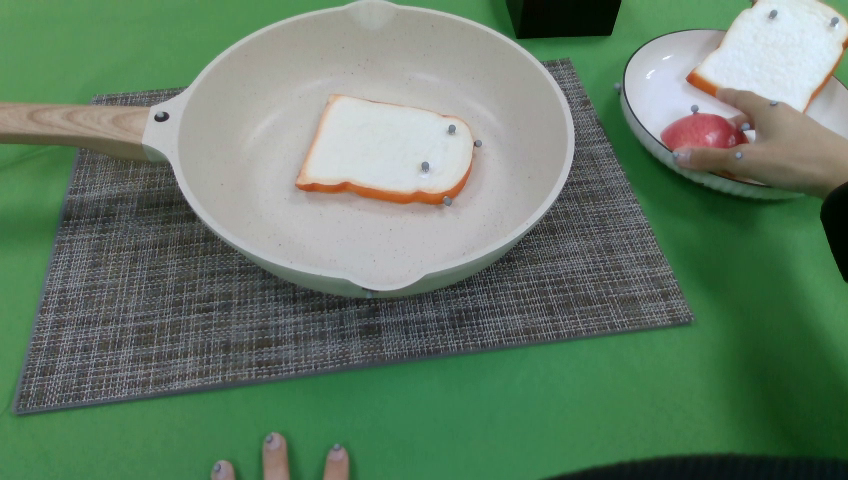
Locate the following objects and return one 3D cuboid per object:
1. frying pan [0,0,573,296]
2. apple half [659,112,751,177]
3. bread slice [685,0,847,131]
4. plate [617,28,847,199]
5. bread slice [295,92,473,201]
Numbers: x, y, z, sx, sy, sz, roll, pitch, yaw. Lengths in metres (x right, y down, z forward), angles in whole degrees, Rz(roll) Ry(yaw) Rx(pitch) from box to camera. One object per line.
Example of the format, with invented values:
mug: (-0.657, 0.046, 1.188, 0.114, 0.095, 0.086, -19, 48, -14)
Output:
frying pan: (-0.139, -0.080, 0.450, 0.489, 0.103, 0.303, 3, 52, -10)
apple half: (0.234, -0.084, 0.493, 0.081, 0.033, 0.080, 10, 34, -7)
bread slice: (0.324, -0.175, 0.560, 0.104, 0.019, 0.131, 36, 80, 20)
plate: (0.272, -0.111, 0.537, 0.208, 0.039, 0.205, 1, 53, -1)
bread slice: (-0.027, -0.077, 0.500, 0.134, 0.018, 0.106, 7, 54, 3)
